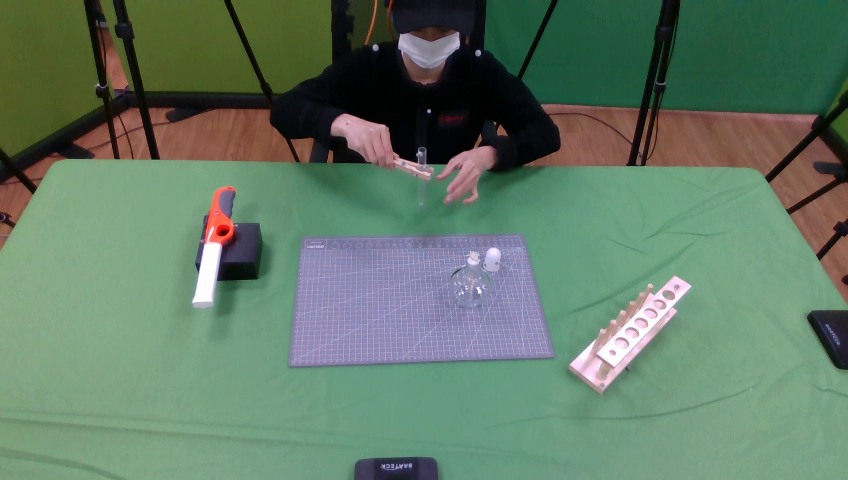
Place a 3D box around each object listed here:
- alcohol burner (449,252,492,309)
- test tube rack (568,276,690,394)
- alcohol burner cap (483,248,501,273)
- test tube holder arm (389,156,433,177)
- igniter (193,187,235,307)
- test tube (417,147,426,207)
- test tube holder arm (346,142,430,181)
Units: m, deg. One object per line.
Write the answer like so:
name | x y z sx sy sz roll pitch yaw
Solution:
alcohol burner | 0.084 0.066 1.073 0.078 0.120 0.077 1 44 -1
test tube rack | 0.353 0.149 1.039 0.242 0.085 0.066 -34 56 -31
alcohol burner cap | 0.130 0.037 1.156 0.034 0.048 0.033 1 46 -1
test tube holder arm | -0.026 -0.138 1.134 0.088 0.015 0.010 17 48 9
igniter | -0.378 0.003 1.096 0.057 0.025 0.274 -1 49 -6
test tube | -0.006 -0.116 1.140 0.017 0.151 0.017 1 52 -1
test tube holder arm | -0.069 -0.149 1.140 0.178 0.015 0.013 22 48 14
